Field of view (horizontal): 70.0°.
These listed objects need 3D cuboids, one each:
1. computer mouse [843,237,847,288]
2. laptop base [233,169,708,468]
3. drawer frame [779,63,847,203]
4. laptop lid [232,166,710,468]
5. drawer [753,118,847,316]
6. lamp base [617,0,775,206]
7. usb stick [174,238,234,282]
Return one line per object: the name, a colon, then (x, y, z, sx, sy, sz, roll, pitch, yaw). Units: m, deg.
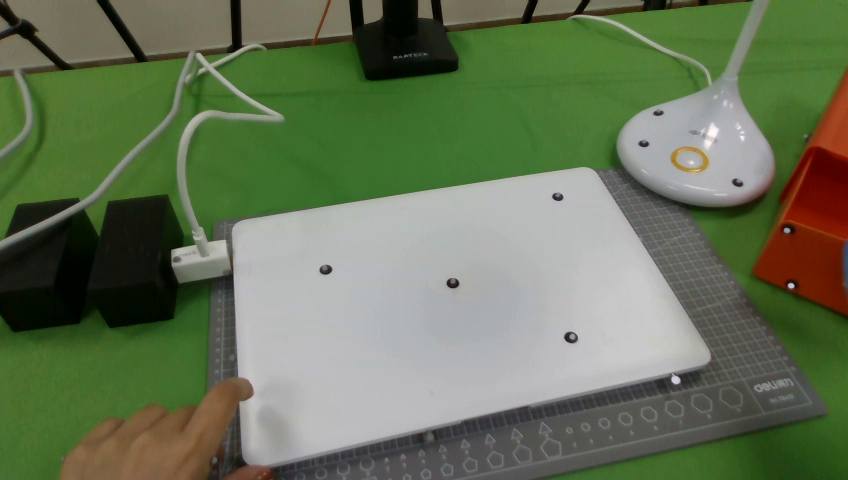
computer mouse: (0.332, 0.025, 0.385, 0.117, 0.041, 0.062, 5, 66, -2)
laptop base: (0.024, 0.045, 0.513, 0.355, 0.023, 0.233, -10, 51, -10)
drawer frame: (0.489, -0.079, 0.595, 0.200, 0.083, 0.213, 27, 51, 23)
laptop lid: (0.025, 0.039, 0.502, 0.357, 0.013, 0.239, -8, 50, -9)
drawer: (0.426, -0.012, 0.534, 0.193, 0.074, 0.211, 27, 52, 23)
lamp base: (0.290, -0.154, 0.593, 0.160, 0.182, 0.178, 20, 46, 18)
usb stick: (-0.180, 0.016, 0.517, 0.059, 0.027, 0.021, -9, 47, -16)
